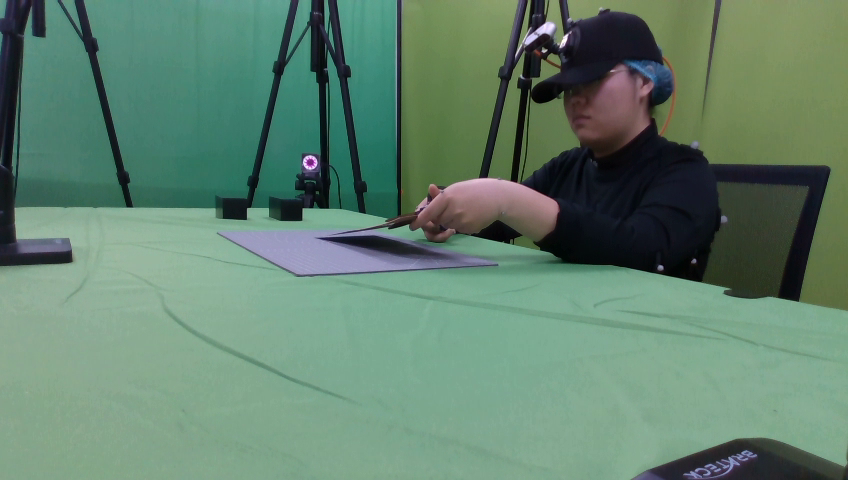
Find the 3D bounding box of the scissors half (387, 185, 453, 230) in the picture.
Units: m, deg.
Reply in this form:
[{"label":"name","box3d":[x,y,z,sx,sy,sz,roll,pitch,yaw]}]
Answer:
[{"label":"scissors half","box3d":[-0.007,-0.055,1.059,0.013,0.040,0.176,-17,14,47]}]

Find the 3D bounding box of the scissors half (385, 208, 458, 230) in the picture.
[{"label":"scissors half","box3d":[-0.002,-0.035,1.061,0.176,0.040,0.012,-5,-3,-43]}]

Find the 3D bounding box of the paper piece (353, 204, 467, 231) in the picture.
[{"label":"paper piece","box3d":[-0.023,-0.036,0.950,0.136,0.008,0.137,-19,7,-36]}]

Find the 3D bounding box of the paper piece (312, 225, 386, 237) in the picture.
[{"label":"paper piece","box3d":[-0.106,-0.021,1.056,0.136,0.004,0.135,-10,2,-39]}]
